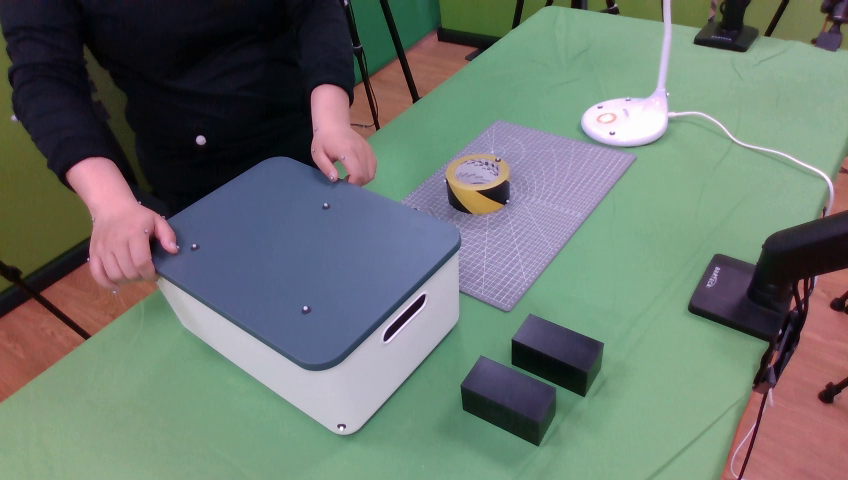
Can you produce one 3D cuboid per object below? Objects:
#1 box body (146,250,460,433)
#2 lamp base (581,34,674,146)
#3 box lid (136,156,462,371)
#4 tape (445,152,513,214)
[{"bbox_3d":[-0.156,0.059,0.814,0.361,0.161,0.255,24,49,31],"label":"box body"},{"bbox_3d":[0.392,-0.291,1.129,0.180,0.181,0.159,-11,41,-8],"label":"lamp base"},{"bbox_3d":[-0.162,0.004,0.765,0.368,0.015,0.264,23,49,31],"label":"box lid"},{"bbox_3d":[0.095,-0.099,1.042,0.117,0.053,0.116,-4,41,4],"label":"tape"}]
